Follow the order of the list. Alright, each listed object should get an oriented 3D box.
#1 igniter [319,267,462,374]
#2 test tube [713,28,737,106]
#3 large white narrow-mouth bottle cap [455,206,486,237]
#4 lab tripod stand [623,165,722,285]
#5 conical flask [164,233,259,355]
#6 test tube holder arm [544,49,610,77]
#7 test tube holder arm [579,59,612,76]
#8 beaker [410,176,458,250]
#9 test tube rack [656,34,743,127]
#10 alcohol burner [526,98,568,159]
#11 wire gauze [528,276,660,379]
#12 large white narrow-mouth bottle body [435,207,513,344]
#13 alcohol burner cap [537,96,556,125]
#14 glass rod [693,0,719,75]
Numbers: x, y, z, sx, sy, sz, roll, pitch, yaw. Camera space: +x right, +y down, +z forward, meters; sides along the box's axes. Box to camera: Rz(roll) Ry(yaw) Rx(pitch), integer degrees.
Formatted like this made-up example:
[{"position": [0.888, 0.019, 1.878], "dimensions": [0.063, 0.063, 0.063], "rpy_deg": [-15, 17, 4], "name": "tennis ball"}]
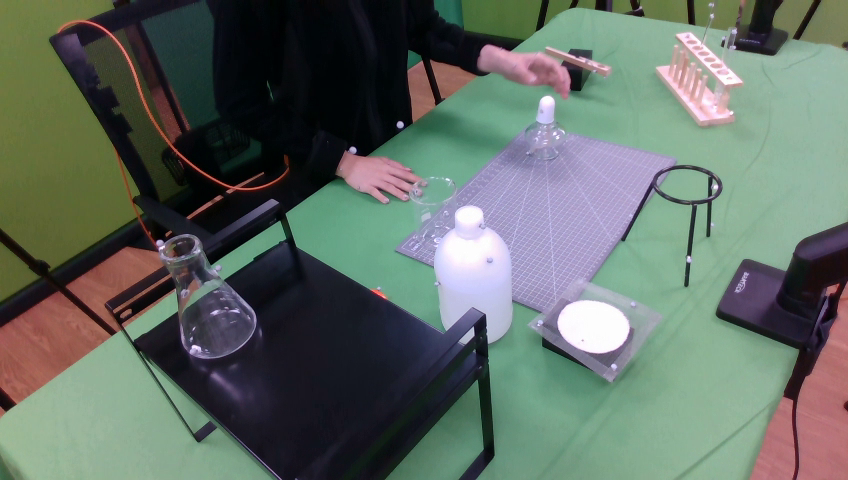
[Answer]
[{"position": [-0.059, 0.107, 0.862], "dimensions": [0.274, 0.025, 0.057], "rpy_deg": [28, 62, 34], "name": "igniter"}, {"position": [0.571, -0.325, 1.148], "dimensions": [0.017, 0.151, 0.017], "rpy_deg": [-4, 36, 3], "name": "test tube"}, {"position": [0.057, -0.023, 0.734], "dimensions": [0.038, 0.024, 0.037], "rpy_deg": [-4, 40, 4], "name": "large white narrow-mouth bottle cap"}, {"position": [0.365, -0.030, 0.875], "dimensions": [0.148, 0.132, 0.147], "rpy_deg": [-6, 41, 6], "name": "lab tripod stand"}, {"position": [-0.216, 0.051, 0.601], "dimensions": [0.075, 0.122, 0.075], "rpy_deg": [-4, 40, 4], "name": "conical flask"}, {"position": [0.330, -0.386, 1.314], "dimensions": [0.013, 0.015, 0.177], "rpy_deg": [-25, 43, -32], "name": "test tube holder arm"}, {"position": [0.362, -0.368, 1.289], "dimensions": [0.010, 0.015, 0.087], "rpy_deg": [-25, 43, -32], "name": "test tube holder arm"}, {"position": [0.022, -0.041, 0.963], "dimensions": [0.073, 0.101, 0.084], "rpy_deg": [28, 51, 35], "name": "beaker"}, {"position": [0.553, -0.330, 1.233], "dimensions": [0.067, 0.085, 0.241], "rpy_deg": [-7, 40, 2], "name": "test tube rack"}, {"position": [0.228, -0.210, 1.118], "dimensions": [0.078, 0.119, 0.077], "rpy_deg": [-5, 43, 5], "name": "alcohol burner"}, {"position": [0.214, 0.103, 0.763], "dimensions": [0.124, 0.011, 0.122], "rpy_deg": [30, 52, 35], "name": "wire gauze"}, {"position": [0.065, 0.041, 0.791], "dimensions": [0.102, 0.195, 0.101], "rpy_deg": [-4, 41, 4], "name": "large white narrow-mouth bottle body"}, {"position": [0.222, -0.237, 1.095], "dimensions": [0.034, 0.048, 0.033], "rpy_deg": [-1, 43, 1], "name": "alcohol burner cap"}, {"position": [0.561, -0.401, 1.214], "dimensions": [0.008, 0.200, 0.008], "rpy_deg": [-1, 48, 2], "name": "glass rod"}]
